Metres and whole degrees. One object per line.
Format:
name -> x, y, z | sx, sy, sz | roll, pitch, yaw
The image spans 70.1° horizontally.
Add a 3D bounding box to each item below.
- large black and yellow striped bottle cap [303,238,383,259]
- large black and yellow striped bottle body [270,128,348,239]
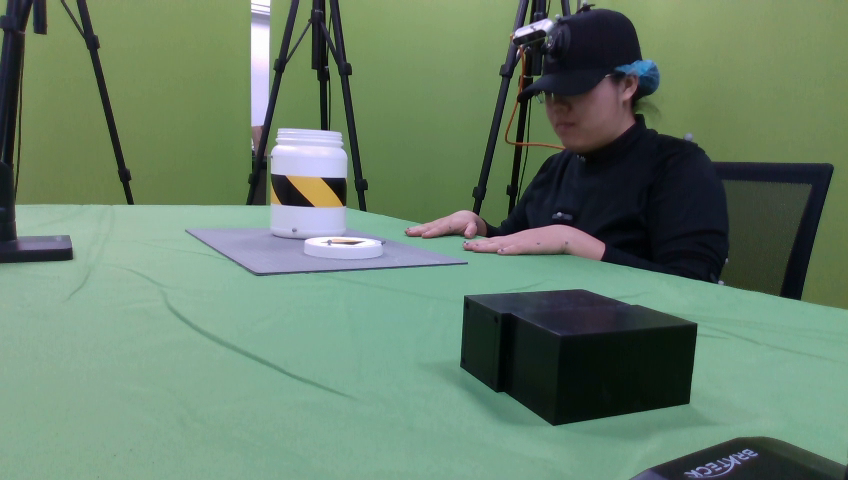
large black and yellow striped bottle cap -> -0.117, 0.011, 0.880 | 0.115, 0.019, 0.115 | 2, 6, 0
large black and yellow striped bottle body -> -0.200, -0.099, 1.053 | 0.131, 0.184, 0.130 | 3, 8, 0
